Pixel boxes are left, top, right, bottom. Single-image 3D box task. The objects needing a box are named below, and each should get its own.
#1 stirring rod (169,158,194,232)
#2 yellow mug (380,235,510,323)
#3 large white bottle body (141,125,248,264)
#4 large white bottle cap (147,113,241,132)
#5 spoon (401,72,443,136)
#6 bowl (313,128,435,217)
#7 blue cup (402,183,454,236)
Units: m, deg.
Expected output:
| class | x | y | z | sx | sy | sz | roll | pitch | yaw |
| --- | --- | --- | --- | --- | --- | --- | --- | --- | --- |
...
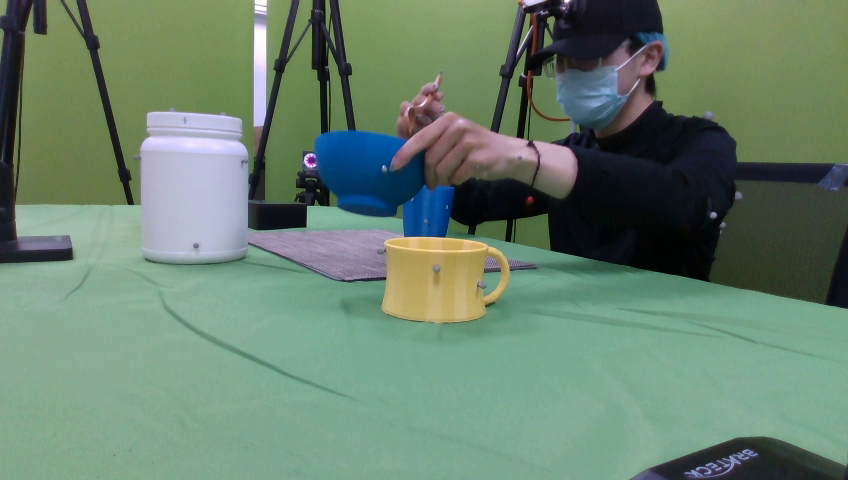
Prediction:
| class | x | y | z | sx | sy | sz | roll | pitch | yaw |
| --- | --- | --- | --- | --- | --- | --- | --- | --- | --- |
| stirring rod | -0.424 | -0.082 | 1.060 | 0.014 | 0.006 | 0.175 | 2 | 50 | -10 |
| yellow mug | 0.024 | 0.033 | 0.576 | 0.131 | 0.064 | 0.099 | 0 | 8 | -22 |
| large white bottle body | -0.300 | -0.068 | 0.797 | 0.131 | 0.184 | 0.130 | 2 | 7 | 0 |
| large white bottle cap | -0.297 | -0.151 | 0.786 | 0.115 | 0.018 | 0.115 | 2 | 7 | 0 |
| spoon | 0.001 | -0.218 | 0.944 | 0.021 | 0.041 | 0.194 | 10 | 40 | 20 |
| bowl | -0.067 | -0.074 | 0.746 | 0.151 | 0.076 | 0.151 | 7 | -9 | 1 |
| blue cup | 0.003 | -0.038 | 0.966 | 0.093 | 0.100 | 0.092 | 4 | 8 | 0 |
